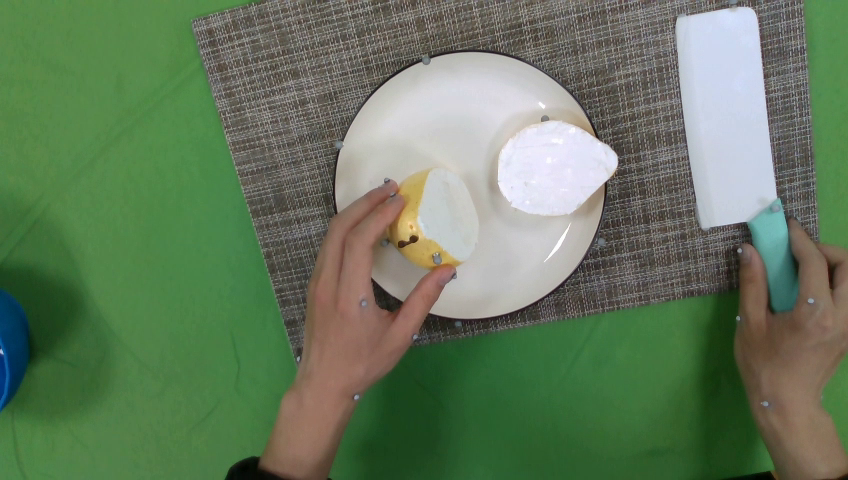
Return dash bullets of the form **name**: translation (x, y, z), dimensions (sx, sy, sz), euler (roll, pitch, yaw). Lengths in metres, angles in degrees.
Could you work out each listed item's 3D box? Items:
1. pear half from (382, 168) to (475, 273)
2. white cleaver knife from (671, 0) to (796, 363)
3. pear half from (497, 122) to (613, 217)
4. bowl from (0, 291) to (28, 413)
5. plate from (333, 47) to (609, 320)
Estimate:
- **pear half**: translation (-0.006, -0.007, 0.439), dimensions (0.056, 0.110, 0.076), euler (-25, 92, 24)
- **white cleaver knife**: translation (0.240, -0.036, 0.471), dimensions (0.066, 0.021, 0.287), euler (-14, 101, 7)
- **pear half**: translation (0.100, -0.055, 0.460), dimensions (0.087, 0.031, 0.070), euler (-3, 104, 22)
- **bowl**: translation (-0.400, 0.085, 0.514), dimensions (0.151, 0.076, 0.152), euler (1, 105, 3)
- **plate**: translation (0.035, -0.041, 0.473), dimensions (0.207, 0.039, 0.208), euler (1, 105, 3)
